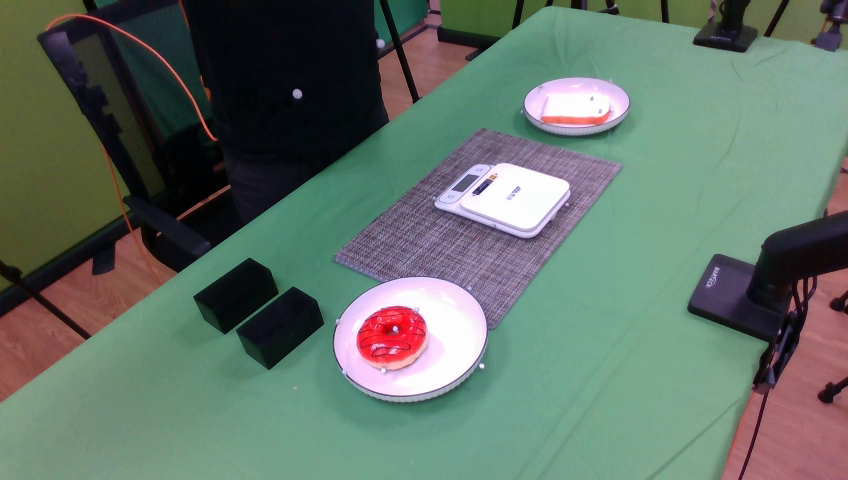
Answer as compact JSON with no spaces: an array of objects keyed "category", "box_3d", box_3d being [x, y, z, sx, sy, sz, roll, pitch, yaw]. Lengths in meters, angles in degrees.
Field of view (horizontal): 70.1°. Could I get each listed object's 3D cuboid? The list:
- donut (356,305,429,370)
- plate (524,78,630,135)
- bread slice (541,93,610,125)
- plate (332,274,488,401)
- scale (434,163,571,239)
[{"category":"donut","box_3d":[-0.041,0.127,0.798,0.099,0.048,0.098,-7,39,7]},{"category":"plate","box_3d":[0.307,-0.265,1.223,0.209,0.038,0.208,-4,40,4]},{"category":"bread slice","box_3d":[0.310,-0.267,1.227,0.131,0.019,0.105,7,43,15]},{"category":"plate","box_3d":[-0.017,0.130,0.808,0.207,0.039,0.206,-4,41,4]},{"category":"scale","box_3d":[0.132,-0.075,1.025,0.199,0.032,0.149,22,48,30]}]
